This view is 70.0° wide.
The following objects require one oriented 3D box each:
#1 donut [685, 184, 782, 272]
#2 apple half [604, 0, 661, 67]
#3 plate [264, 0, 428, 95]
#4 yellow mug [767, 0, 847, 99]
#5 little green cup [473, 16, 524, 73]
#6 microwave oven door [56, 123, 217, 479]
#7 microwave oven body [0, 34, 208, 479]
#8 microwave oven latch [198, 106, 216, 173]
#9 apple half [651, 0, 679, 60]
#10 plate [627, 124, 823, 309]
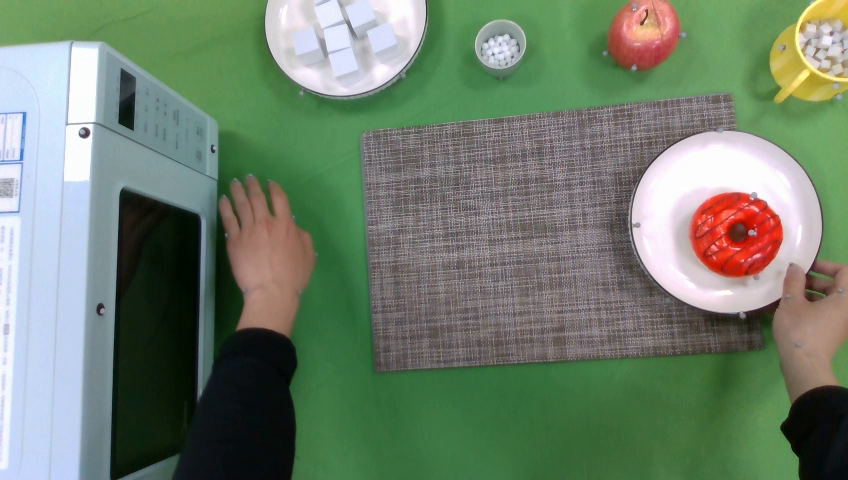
[{"bbox_3d":[0.344,-0.013,0.676,0.099,0.048,0.099,-1,85,8],"label":"donut"},{"bbox_3d":[0.239,-0.241,0.708,0.053,0.075,0.080,-14,87,10],"label":"apple half"},{"bbox_3d":[-0.096,-0.280,0.767,0.207,0.039,0.207,-1,84,6],"label":"plate"},{"bbox_3d":[0.444,-0.210,0.685,0.099,0.064,0.131,44,91,9],"label":"yellow mug"},{"bbox_3d":[0.091,-0.237,0.742,0.061,0.039,0.061,-1,84,7],"label":"little green cup"},{"bbox_3d":[-0.286,0.084,0.632,0.039,0.244,0.355,-2,84,7],"label":"microwave oven door"},{"bbox_3d":[-0.432,0.047,0.657,0.326,0.261,0.440,-2,85,6],"label":"microwave oven body"},{"bbox_3d":[-0.276,-0.124,0.753,0.030,0.029,0.079,0,85,6],"label":"microwave oven latch"},{"bbox_3d":[0.277,-0.250,0.704,0.033,0.081,0.081,-14,82,10],"label":"apple half"},{"bbox_3d":[0.335,-0.026,0.690,0.209,0.038,0.208,-1,84,7],"label":"plate"}]
